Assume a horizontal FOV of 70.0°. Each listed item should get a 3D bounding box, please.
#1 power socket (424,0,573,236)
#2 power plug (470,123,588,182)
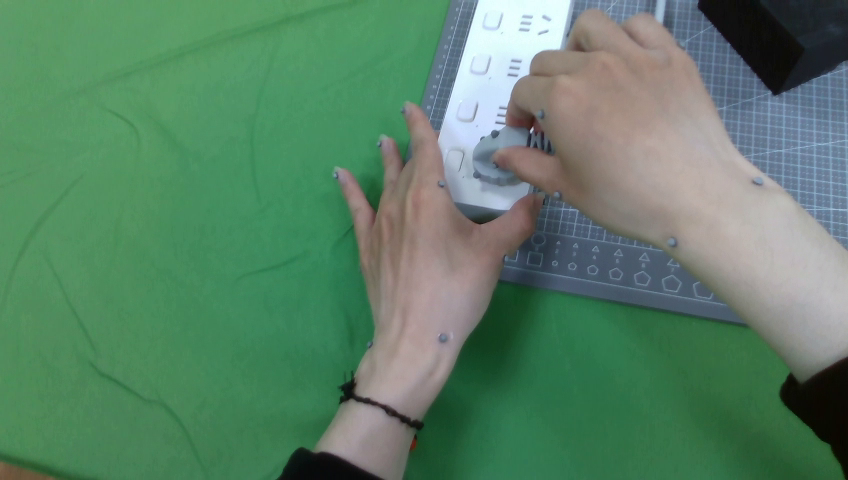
[{"bbox_3d":[0.058,-0.110,0.446,0.072,0.033,0.225,12,68,12],"label":"power socket"},{"bbox_3d":[0.064,-0.050,0.390,0.072,0.053,0.035,18,72,19],"label":"power plug"}]
